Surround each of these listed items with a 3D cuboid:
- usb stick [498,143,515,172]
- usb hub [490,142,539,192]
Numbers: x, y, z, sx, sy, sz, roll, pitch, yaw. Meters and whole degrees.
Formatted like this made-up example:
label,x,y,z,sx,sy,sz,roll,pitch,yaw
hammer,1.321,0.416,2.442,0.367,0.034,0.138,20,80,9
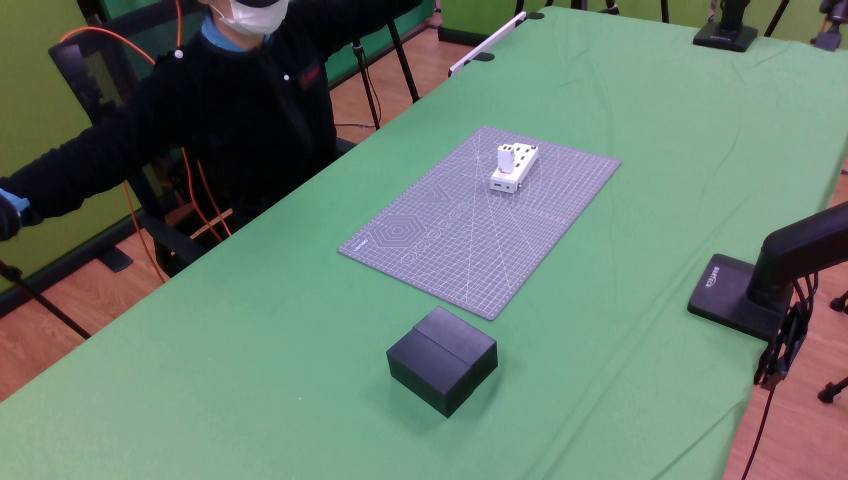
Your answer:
label,x,y,z,sx,sy,sz,roll,pitch,yaw
usb stick,0.144,-0.137,1.052,0.027,0.059,0.021,15,45,21
usb hub,0.165,-0.132,1.092,0.049,0.025,0.125,15,46,24
